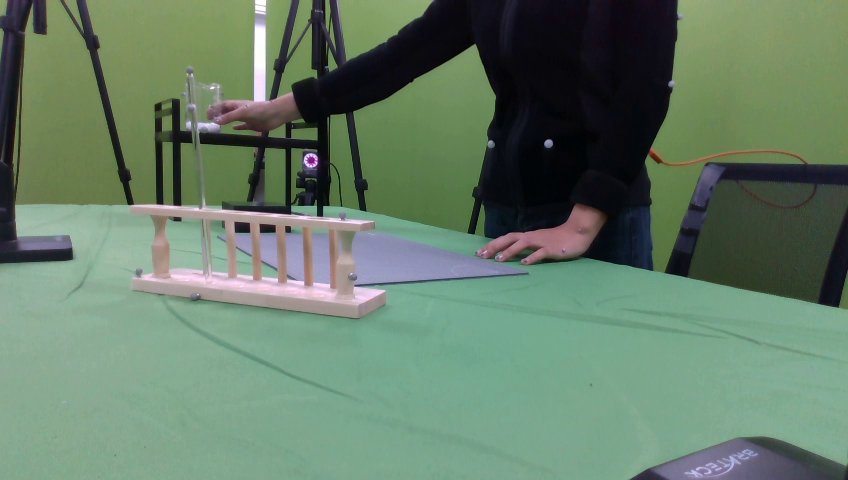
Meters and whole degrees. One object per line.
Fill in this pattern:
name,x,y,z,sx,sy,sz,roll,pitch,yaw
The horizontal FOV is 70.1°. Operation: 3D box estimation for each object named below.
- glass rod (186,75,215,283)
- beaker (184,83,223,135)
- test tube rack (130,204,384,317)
glass rod,-0.210,-0.052,0.568,0.008,0.199,0.008,-1,15,1
beaker,-0.456,-0.271,1.256,0.074,0.100,0.083,-3,9,-33
test tube rack,-0.163,0.013,0.589,0.242,0.085,0.067,5,8,17
